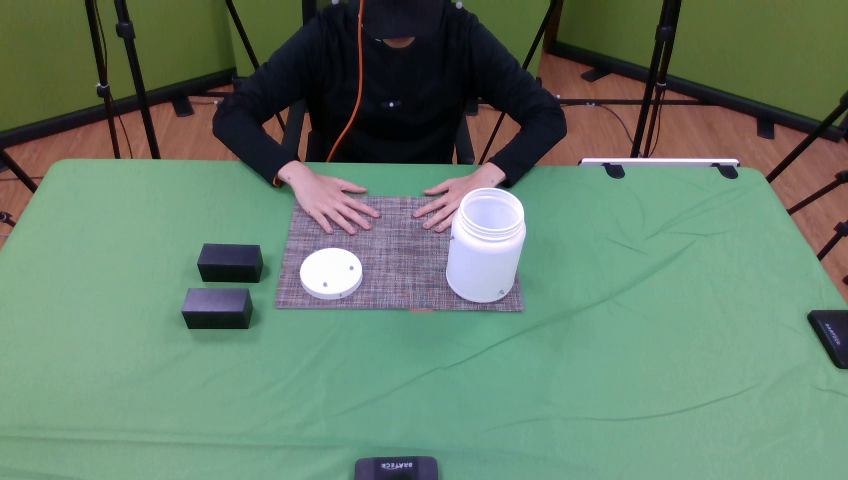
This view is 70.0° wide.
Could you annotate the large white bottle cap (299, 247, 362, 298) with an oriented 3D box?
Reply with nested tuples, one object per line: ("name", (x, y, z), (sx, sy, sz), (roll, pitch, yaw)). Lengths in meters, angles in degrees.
("large white bottle cap", (-0.174, 0.059, 1.124), (0.115, 0.018, 0.114), (2, 46, -2))

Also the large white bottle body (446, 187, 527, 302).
("large white bottle body", (0.110, 0.008, 1.079), (0.131, 0.185, 0.130), (2, 47, -2))
